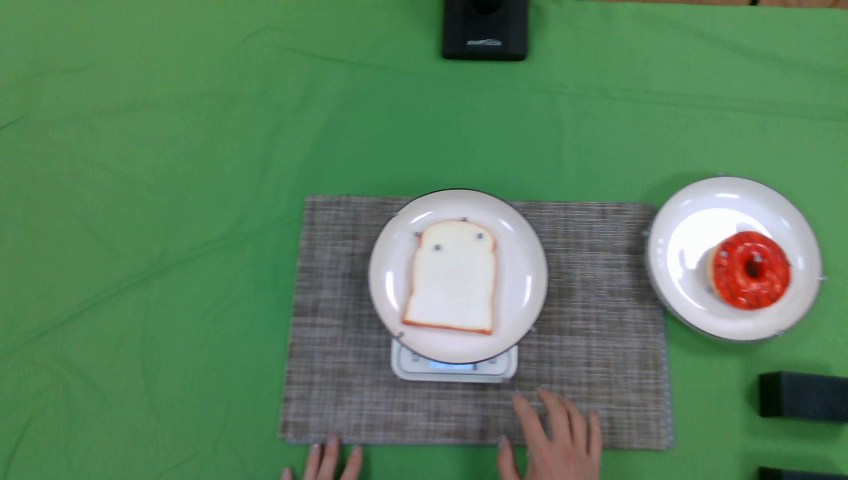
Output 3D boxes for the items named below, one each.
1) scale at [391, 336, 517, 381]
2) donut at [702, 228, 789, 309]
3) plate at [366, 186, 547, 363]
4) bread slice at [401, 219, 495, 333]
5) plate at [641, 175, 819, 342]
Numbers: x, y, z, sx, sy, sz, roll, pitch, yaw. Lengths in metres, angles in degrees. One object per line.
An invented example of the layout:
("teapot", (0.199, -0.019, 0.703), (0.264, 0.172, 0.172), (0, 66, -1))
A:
("scale", (0.038, 0.066, 0.733), (0.148, 0.032, 0.200), (2, 75, 1))
("donut", (0.385, 0.035, 0.727), (0.099, 0.048, 0.098), (0, 78, -1))
("plate", (0.037, 0.039, 0.706), (0.209, 0.038, 0.208), (0, 75, 0))
("bread slice", (0.032, 0.038, 0.709), (0.105, 0.019, 0.131), (6, 75, 1))
("plate", (0.368, 0.023, 0.743), (0.208, 0.039, 0.206), (0, 74, 0))
